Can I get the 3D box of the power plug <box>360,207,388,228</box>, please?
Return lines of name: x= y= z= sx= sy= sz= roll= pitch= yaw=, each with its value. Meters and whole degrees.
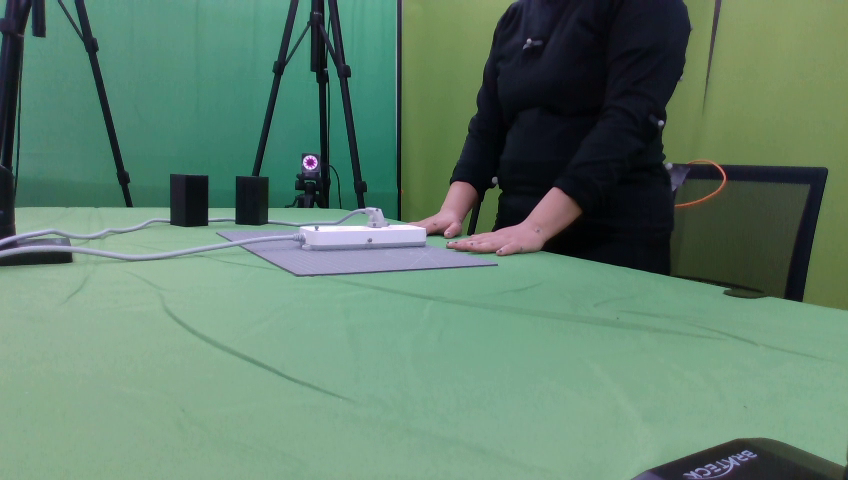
power plug: x=-0.085 y=-0.029 z=1.032 sx=0.035 sy=0.052 sz=0.072 roll=1 pitch=5 yaw=-21

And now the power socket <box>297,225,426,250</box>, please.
power socket: x=-0.099 y=-0.006 z=0.992 sx=0.228 sy=0.032 sz=0.072 roll=-2 pitch=8 yaw=-31
